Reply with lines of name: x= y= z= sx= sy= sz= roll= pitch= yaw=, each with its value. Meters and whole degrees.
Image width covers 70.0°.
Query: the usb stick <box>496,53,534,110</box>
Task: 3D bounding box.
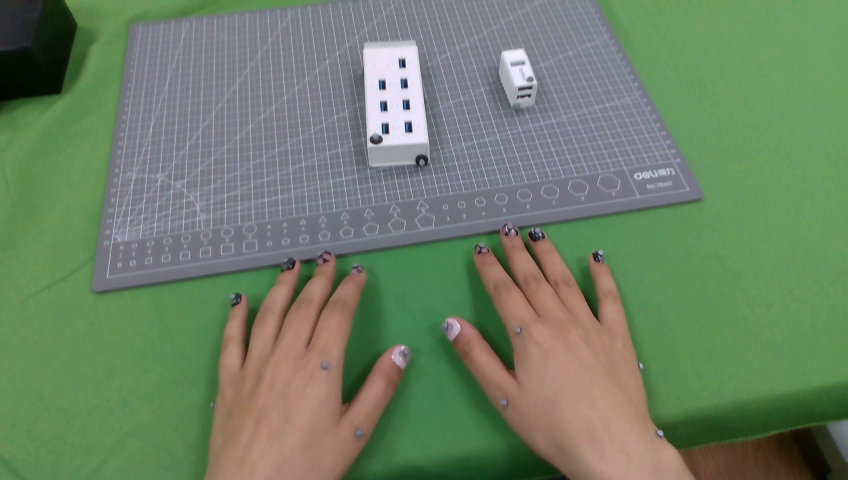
usb stick: x=0.077 y=-0.142 z=0.525 sx=0.021 sy=0.027 sz=0.058 roll=-9 pitch=53 yaw=-5

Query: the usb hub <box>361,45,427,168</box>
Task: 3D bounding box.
usb hub: x=-0.027 y=-0.114 z=0.507 sx=0.049 sy=0.025 sz=0.124 roll=-4 pitch=55 yaw=-2
